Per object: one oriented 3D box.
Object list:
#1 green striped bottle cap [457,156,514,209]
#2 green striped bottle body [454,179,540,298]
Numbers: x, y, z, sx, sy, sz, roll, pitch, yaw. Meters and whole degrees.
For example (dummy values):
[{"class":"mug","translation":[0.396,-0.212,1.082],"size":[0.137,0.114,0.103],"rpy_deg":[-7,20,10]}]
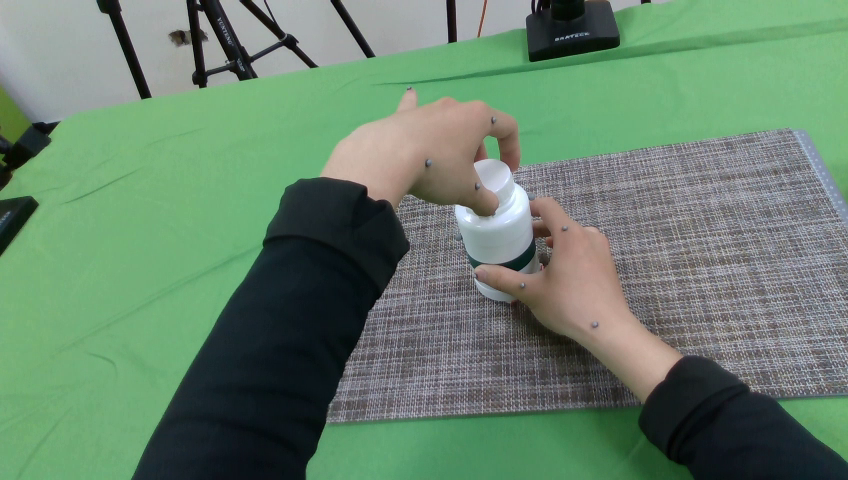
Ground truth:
[{"class":"green striped bottle cap","translation":[0.049,-0.047,0.489],"size":[0.044,0.020,0.044],"rpy_deg":[-11,48,13]},{"class":"green striped bottle body","translation":[0.063,-0.008,0.528],"size":[0.063,0.120,0.062],"rpy_deg":[-10,45,10]}]
